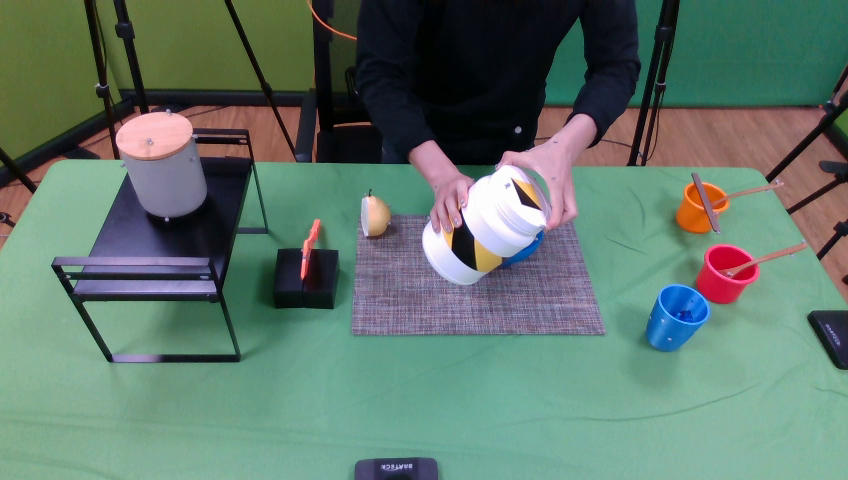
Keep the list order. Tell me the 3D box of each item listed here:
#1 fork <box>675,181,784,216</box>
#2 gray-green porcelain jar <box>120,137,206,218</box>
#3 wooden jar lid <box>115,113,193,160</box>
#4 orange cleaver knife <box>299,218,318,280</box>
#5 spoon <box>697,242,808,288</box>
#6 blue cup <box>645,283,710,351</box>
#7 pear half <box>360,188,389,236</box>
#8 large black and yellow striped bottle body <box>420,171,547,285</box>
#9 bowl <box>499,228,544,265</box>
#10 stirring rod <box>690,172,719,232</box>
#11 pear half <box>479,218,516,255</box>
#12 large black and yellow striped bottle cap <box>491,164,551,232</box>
[{"bbox_3d":[0.618,-0.084,1.235,0.207,0.019,0.028,-22,21,38],"label":"fork"},{"bbox_3d":[-0.403,-0.106,0.946,0.106,0.127,0.105,3,46,-2],"label":"gray-green porcelain jar"},{"bbox_3d":[-0.399,-0.151,0.900,0.108,0.021,0.107,3,46,-3],"label":"wooden jar lid"},{"bbox_3d":[-0.214,0.013,1.125,0.012,0.077,0.210,6,17,-5],"label":"orange cleaver knife"},{"bbox_3d":[0.601,0.044,1.116,0.194,0.022,0.041,-29,34,30],"label":"spoon"},{"bbox_3d":[0.426,0.138,1.040,0.093,0.100,0.092,4,46,-3],"label":"blue cup"},{"bbox_3d":[-0.096,-0.060,1.181,0.056,0.110,0.076,-14,52,-17],"label":"pear half"},{"bbox_3d":[0.097,-0.023,0.972,0.131,0.184,0.130,28,43,-29],"label":"large black and yellow striped bottle body"},{"bbox_3d":[0.149,-0.004,1.167,0.151,0.077,0.150,3,46,-3],"label":"bowl"},{"bbox_3d":[0.566,-0.080,1.225,0.014,0.006,0.175,3,46,1],"label":"stirring rod"},{"bbox_3d":[0.145,-0.013,1.167,0.070,0.031,0.087,-21,56,-19],"label":"pear half"},{"bbox_3d":[0.149,-0.065,0.921,0.115,0.019,0.114,30,41,-30],"label":"large black and yellow striped bottle cap"}]
